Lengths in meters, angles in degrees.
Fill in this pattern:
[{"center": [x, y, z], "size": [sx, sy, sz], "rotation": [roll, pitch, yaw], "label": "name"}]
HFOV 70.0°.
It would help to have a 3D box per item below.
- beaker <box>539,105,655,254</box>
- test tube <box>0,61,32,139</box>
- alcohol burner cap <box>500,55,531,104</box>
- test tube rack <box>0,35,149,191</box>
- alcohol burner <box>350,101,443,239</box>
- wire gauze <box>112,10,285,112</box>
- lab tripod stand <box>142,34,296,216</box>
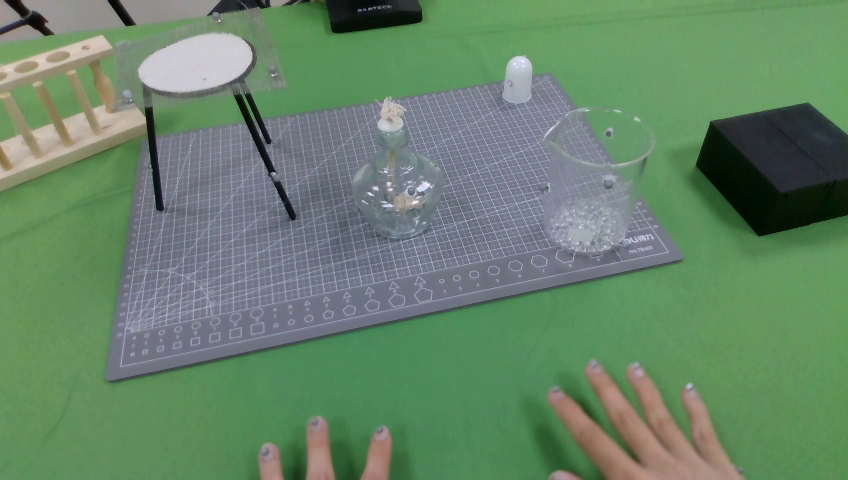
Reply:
[{"center": [0.131, -0.044, 0.483], "size": [0.084, 0.101, 0.073], "rotation": [3, 46, 7], "label": "beaker"}, {"center": [-0.402, -0.162, 0.565], "size": [0.017, 0.151, 0.017], "rotation": [0, 39, 0], "label": "test tube"}, {"center": [0.099, -0.174, 0.648], "size": [0.034, 0.048, 0.033], "rotation": [-1, 46, 2], "label": "alcohol burner cap"}, {"center": [-0.405, -0.108, 0.583], "size": [0.242, 0.086, 0.066], "rotation": [-29, 52, -23], "label": "test tube rack"}, {"center": [-0.024, -0.060, 0.495], "size": [0.078, 0.120, 0.077], "rotation": [-2, 44, 2], "label": "alcohol burner"}, {"center": [-0.180, -0.141, 0.473], "size": [0.125, 0.011, 0.120], "rotation": [-15, 48, -11], "label": "wire gauze"}, {"center": [-0.177, -0.094, 0.522], "size": [0.148, 0.133, 0.147], "rotation": [-2, 48, 2], "label": "lab tripod stand"}]
